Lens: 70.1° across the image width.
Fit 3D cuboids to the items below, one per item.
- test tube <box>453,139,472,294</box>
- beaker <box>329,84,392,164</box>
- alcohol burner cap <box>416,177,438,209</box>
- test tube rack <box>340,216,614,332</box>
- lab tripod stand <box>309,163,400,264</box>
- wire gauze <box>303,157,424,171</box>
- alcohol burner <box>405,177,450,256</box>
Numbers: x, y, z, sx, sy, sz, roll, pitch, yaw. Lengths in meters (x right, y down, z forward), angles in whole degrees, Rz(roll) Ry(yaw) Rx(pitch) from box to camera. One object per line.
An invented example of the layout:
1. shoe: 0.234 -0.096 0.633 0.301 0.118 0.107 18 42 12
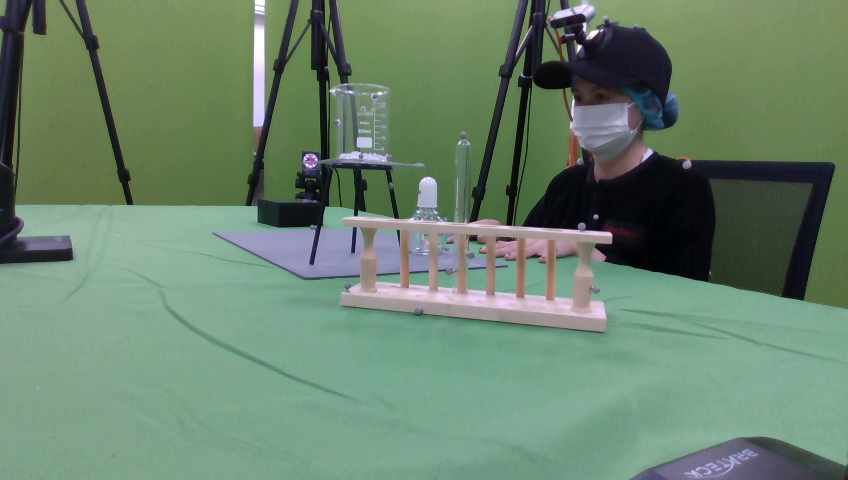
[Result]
1. test tube: 0.037 -0.021 0.584 0.017 0.150 0.017 1 7 0
2. beaker: -0.084 -0.149 0.794 0.084 0.100 0.073 -1 6 -23
3. alcohol burner cap: 0.005 -0.072 0.914 0.034 0.048 0.034 3 9 0
4. test tube rack: 0.048 0.026 0.568 0.242 0.085 0.067 4 8 13
5. lab tripod stand: -0.091 -0.037 0.813 0.148 0.131 0.148 1 6 0
6. wire gauze: -0.082 -0.101 0.799 0.126 0.011 0.121 1 7 -30
7. alcohol burner: 0.004 -0.036 0.917 0.078 0.119 0.078 3 5 0
